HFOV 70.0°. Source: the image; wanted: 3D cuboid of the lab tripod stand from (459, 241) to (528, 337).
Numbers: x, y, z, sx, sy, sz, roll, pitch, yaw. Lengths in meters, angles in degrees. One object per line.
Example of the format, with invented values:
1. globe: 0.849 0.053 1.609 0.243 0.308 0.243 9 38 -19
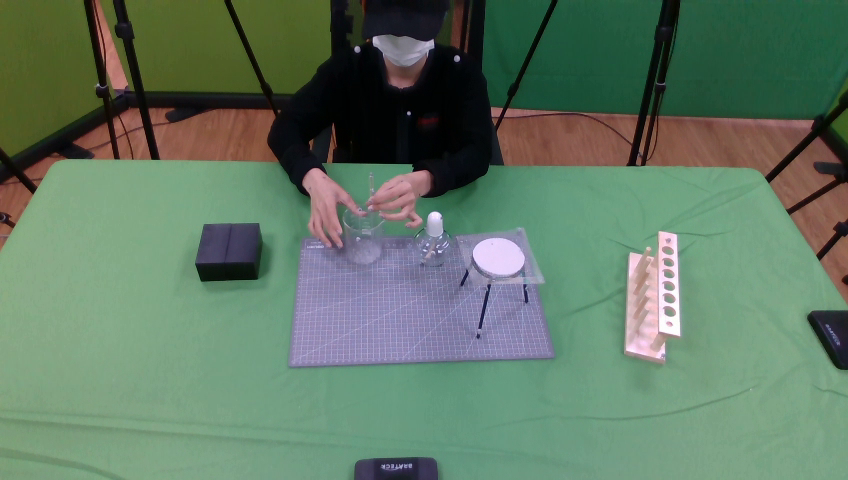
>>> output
1. lab tripod stand: 0.122 0.075 1.054 0.148 0.132 0.147 3 44 -3

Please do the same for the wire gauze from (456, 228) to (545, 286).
1. wire gauze: 0.126 0.029 1.006 0.125 0.011 0.120 -4 46 -10

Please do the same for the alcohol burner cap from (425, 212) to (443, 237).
1. alcohol burner cap: 0.019 -0.032 1.114 0.034 0.048 0.033 1 48 -1

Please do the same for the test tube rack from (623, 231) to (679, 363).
1. test tube rack: 0.410 0.094 1.096 0.066 0.085 0.241 13 46 9

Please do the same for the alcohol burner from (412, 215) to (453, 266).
1. alcohol burner: 0.017 -0.006 1.139 0.078 0.119 0.077 2 48 -3

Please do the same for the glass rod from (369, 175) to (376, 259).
1. glass rod: -0.093 -0.037 1.094 0.008 0.201 0.008 1 43 -1

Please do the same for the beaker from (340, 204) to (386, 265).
1. beaker: -0.114 -0.008 1.140 0.084 0.101 0.073 -3 46 -8
